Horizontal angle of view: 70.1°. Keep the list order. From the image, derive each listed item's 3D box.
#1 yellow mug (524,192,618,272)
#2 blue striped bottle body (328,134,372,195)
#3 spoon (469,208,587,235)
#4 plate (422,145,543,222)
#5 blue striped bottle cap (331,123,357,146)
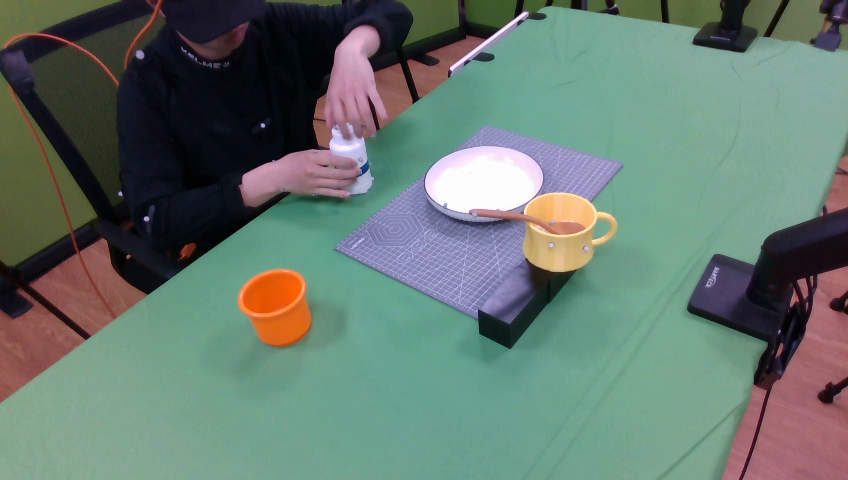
[{"bbox_3d":[0.206,-0.014,0.845,0.131,0.064,0.099,-4,41,2],"label":"yellow mug"},{"bbox_3d":[-0.134,-0.145,1.082,0.063,0.121,0.063,-4,41,4],"label":"blue striped bottle body"},{"bbox_3d":[0.143,-0.026,0.817,0.195,0.021,0.041,12,34,-29],"label":"spoon"},{"bbox_3d":[0.101,-0.094,1.048,0.207,0.039,0.206,-4,41,4],"label":"plate"},{"bbox_3d":[-0.139,-0.183,1.048,0.044,0.021,0.044,-5,39,5],"label":"blue striped bottle cap"}]
